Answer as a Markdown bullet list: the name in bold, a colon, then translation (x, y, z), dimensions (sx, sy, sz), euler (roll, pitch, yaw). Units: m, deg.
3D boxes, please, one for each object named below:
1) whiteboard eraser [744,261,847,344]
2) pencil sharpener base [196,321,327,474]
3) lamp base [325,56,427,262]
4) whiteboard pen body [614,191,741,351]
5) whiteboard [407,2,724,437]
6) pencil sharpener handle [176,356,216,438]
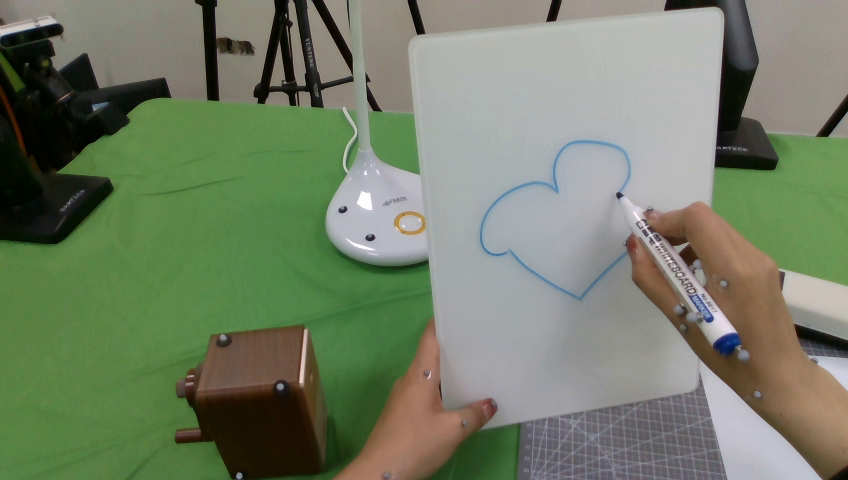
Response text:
- **whiteboard eraser**: translation (0.356, 0.059, 0.552), dimensions (0.112, 0.042, 0.055), euler (18, 45, 23)
- **pencil sharpener base**: translation (-0.117, 0.119, 0.450), dimensions (0.077, 0.108, 0.060), euler (-5, 40, -3)
- **lamp base**: translation (-0.043, -0.095, 0.652), dimensions (0.161, 0.182, 0.177), euler (-27, 43, -27)
- **whiteboard pen body**: translation (0.156, 0.013, 0.389), dimensions (0.017, 0.017, 0.139), euler (-11, 46, -10)
- **whiteboard**: translation (0.101, -0.023, 0.505), dimensions (0.217, 0.307, 0.142), euler (-8, 20, -6)
- **pencil sharpener handle**: translation (-0.168, 0.116, 0.436), dimensions (0.031, 0.068, 0.035), euler (-5, 27, -3)
